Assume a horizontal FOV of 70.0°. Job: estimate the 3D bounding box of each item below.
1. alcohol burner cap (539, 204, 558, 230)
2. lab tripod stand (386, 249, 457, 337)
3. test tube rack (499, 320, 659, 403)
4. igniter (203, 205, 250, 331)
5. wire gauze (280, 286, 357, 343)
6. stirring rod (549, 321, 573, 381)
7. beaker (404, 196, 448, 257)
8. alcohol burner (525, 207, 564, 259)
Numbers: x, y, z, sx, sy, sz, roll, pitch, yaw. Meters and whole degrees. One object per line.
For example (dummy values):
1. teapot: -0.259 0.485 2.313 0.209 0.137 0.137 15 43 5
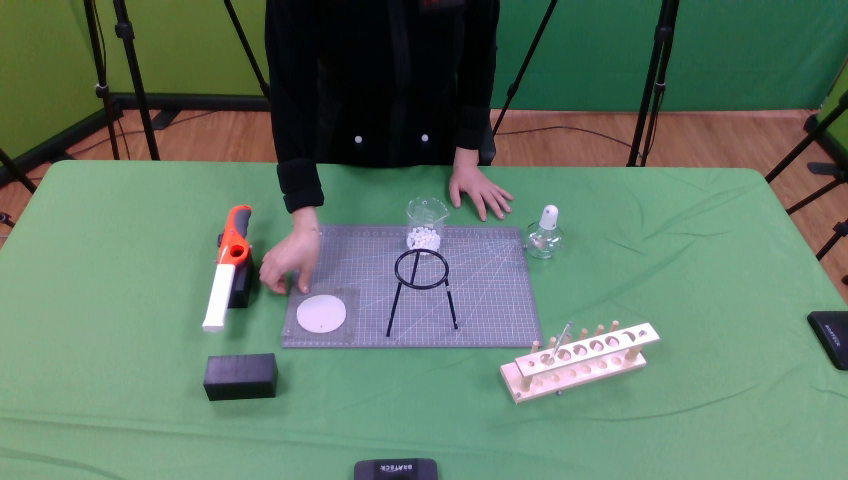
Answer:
1. alcohol burner cap: 0.238 -0.045 1.148 0.034 0.048 0.033 2 42 -1
2. lab tripod stand: -0.010 0.087 1.032 0.148 0.132 0.147 1 45 -1
3. test tube rack: 0.252 0.187 0.994 0.243 0.085 0.066 -12 48 -15
4. igniter: -0.345 0.039 1.065 0.057 0.025 0.274 2 49 -6
5. wire gauze: -0.184 0.126 1.069 0.125 0.011 0.120 3 44 -1
6. stirring rod: 0.202 0.168 0.901 0.006 0.177 0.014 -16 54 -10
7. beaker: 0.001 -0.023 1.164 0.084 0.101 0.073 6 46 0
8. alcohol burner: 0.236 -0.020 1.174 0.078 0.120 0.077 2 48 -1
